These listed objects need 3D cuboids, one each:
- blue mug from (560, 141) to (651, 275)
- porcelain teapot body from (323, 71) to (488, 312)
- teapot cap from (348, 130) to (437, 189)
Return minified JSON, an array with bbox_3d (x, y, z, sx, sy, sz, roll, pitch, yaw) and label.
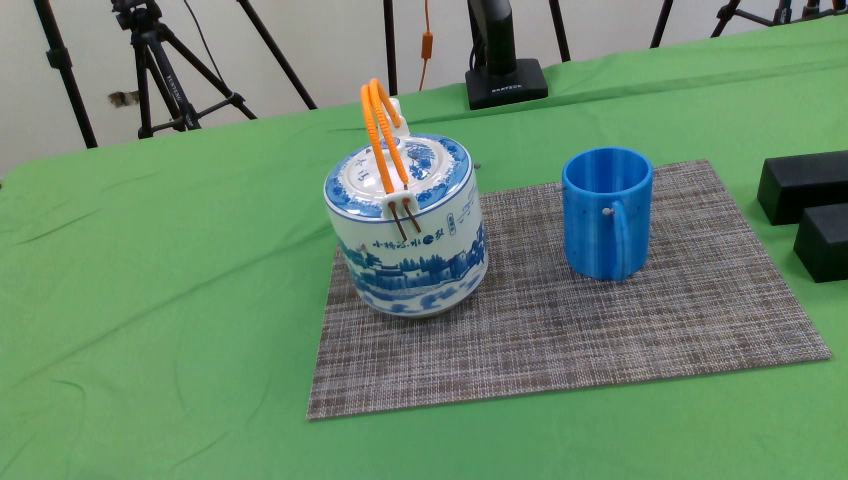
[{"bbox_3d":[0.179,-0.022,0.588,0.082,0.107,0.115,-8,40,7],"label":"blue mug"},{"bbox_3d":[-0.025,-0.065,0.603,0.145,0.227,0.203,-13,40,1],"label":"porcelain teapot body"},{"bbox_3d":[-0.030,-0.077,0.556,0.085,0.044,0.084,-5,39,5],"label":"teapot cap"}]
